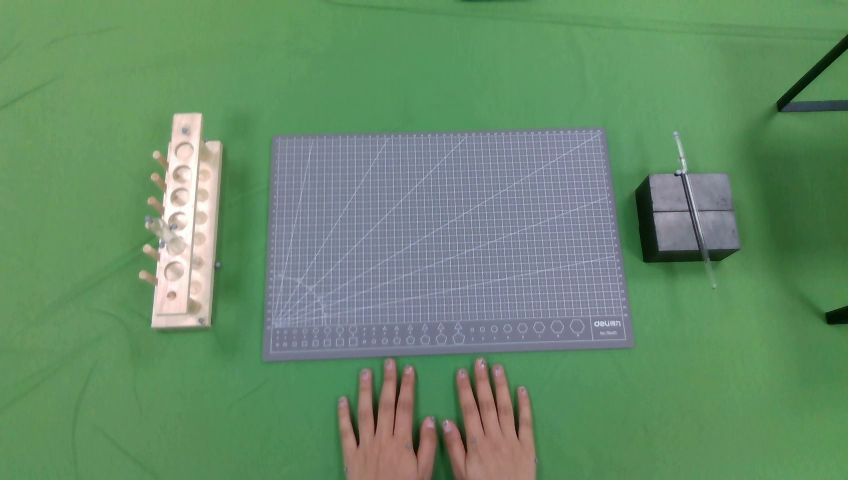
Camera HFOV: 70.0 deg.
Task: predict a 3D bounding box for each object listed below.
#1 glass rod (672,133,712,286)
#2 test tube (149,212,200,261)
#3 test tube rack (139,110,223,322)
[{"bbox_3d":[0.327,-0.040,0.740,0.008,0.008,0.198,-5,73,-3],"label":"glass rod"},{"bbox_3d":[-0.273,0.000,0.670,0.017,0.151,0.017,2,74,-6],"label":"test tube"},{"bbox_3d":[-0.295,-0.028,0.730,0.067,0.085,0.241,-1,73,-1],"label":"test tube rack"}]
